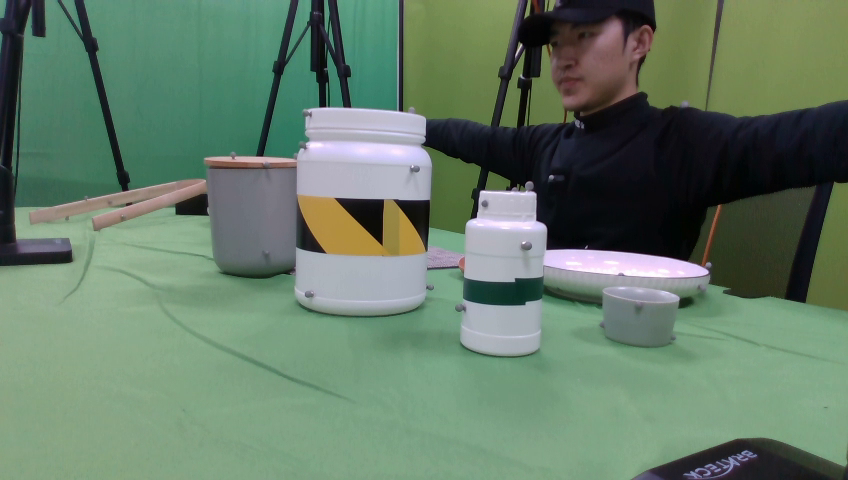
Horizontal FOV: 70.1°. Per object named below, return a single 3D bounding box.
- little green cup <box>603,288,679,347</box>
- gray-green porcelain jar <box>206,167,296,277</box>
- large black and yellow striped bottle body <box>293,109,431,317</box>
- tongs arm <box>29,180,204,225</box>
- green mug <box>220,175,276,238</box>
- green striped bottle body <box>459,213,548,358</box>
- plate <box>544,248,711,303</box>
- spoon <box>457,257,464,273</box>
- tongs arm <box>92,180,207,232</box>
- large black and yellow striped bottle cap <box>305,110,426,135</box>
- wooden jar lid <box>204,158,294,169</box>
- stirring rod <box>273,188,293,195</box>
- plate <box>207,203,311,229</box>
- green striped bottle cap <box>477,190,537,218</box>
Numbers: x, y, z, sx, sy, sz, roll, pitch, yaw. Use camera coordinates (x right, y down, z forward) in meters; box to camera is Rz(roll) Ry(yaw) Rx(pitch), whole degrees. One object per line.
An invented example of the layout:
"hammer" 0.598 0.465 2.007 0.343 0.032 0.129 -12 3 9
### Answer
"little green cup" 0.180 0.064 0.505 0.061 0.038 0.061 2 7 0
"gray-green porcelain jar" -0.201 -0.024 0.724 0.106 0.126 0.106 -1 9 1
"large black and yellow striped bottle body" -0.060 -0.028 0.585 0.131 0.184 0.130 2 7 0
"tongs arm" -0.609 -0.083 1.245 0.050 0.026 0.386 5 16 23
"green mug" -0.310 -0.060 1.051 0.093 0.105 0.124 -2 8 -31
"green striped bottle body" 0.061 0.024 0.460 0.063 0.119 0.063 2 8 0
"plate" 0.219 0.041 0.706 0.209 0.038 0.209 2 7 0
"spoon" 0.059 0.044 0.696 0.041 0.021 0.193 21 7 0
"tongs arm" -0.534 -0.076 1.221 0.028 0.028 0.388 -2 15 12
"large black and yellow striped bottle cap" -0.055 -0.110 0.574 0.115 0.019 0.115 1 7 0
"wooden jar lid" -0.202 -0.086 0.714 0.108 0.020 0.108 3 11 0
"stirring rod" -0.353 -0.122 1.519 0.006 0.014 0.176 2 7 1
"plate" -0.342 -0.050 1.259 0.208 0.039 0.207 3 8 0
"green striped bottle cap" 0.062 -0.027 0.453 0.044 0.020 0.044 2 5 0
